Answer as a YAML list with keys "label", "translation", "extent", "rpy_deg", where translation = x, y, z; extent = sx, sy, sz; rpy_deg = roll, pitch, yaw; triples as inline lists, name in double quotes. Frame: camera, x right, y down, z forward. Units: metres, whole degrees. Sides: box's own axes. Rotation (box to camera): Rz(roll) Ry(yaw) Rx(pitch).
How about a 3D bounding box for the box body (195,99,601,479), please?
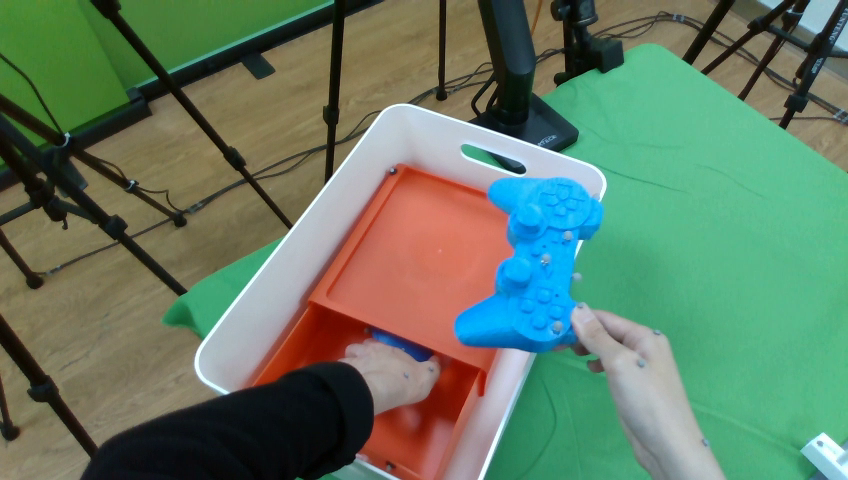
- label: "box body"
  translation: [-0.005, 0.058, 0.617]
  extent: [0.253, 0.162, 0.362]
  rpy_deg: [21, 59, 14]

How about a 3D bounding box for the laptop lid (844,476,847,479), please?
- label: "laptop lid"
  translation: [0.452, 0.372, 0.470]
  extent: [0.242, 0.013, 0.353]
  rpy_deg: [-33, 61, -17]

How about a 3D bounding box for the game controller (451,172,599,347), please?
- label: "game controller"
  translation: [0.082, 0.010, 0.477]
  extent: [0.097, 0.052, 0.154]
  rpy_deg: [13, 65, 7]

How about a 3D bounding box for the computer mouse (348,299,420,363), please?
- label: "computer mouse"
  translation: [-0.041, 0.091, 0.655]
  extent: [0.063, 0.041, 0.116]
  rpy_deg: [-4, 16, 8]

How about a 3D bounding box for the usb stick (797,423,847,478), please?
- label: "usb stick"
  translation: [0.394, 0.208, 0.582]
  extent: [0.021, 0.027, 0.058]
  rpy_deg: [-28, 62, -23]

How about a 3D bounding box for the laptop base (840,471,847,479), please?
- label: "laptop base"
  translation: [0.454, 0.377, 0.481]
  extent: [0.235, 0.023, 0.351]
  rpy_deg: [-35, 62, -17]
